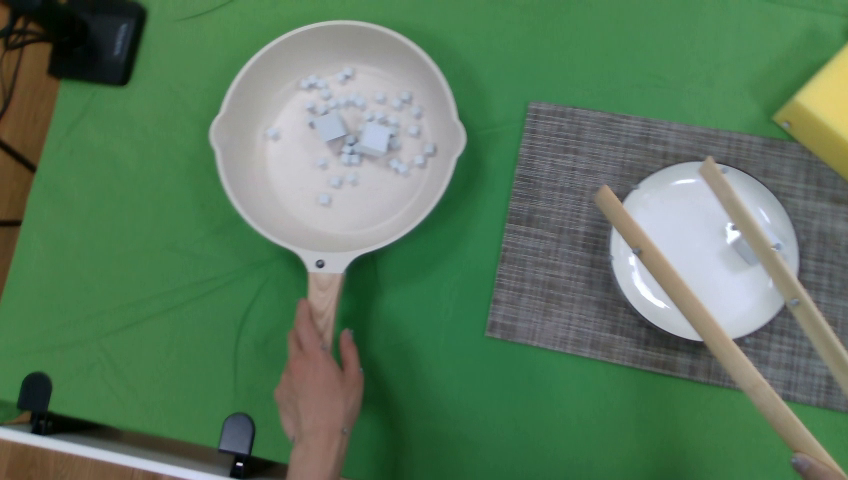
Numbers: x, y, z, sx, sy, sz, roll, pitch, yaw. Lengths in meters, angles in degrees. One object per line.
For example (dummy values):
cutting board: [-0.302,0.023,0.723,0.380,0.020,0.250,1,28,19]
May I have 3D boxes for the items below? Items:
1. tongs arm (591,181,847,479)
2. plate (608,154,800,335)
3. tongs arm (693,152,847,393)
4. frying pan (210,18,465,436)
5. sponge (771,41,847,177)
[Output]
tongs arm: [0.266,0.096,0.510,0.028,0.028,0.384,-21,65,-28]
plate: [0.315,0.006,0.698,0.207,0.039,0.207,-1,81,6]
tongs arm: [0.332,0.077,0.536,0.051,0.027,0.381,-12,62,-21]
frying pan: [-0.110,-0.023,0.713,0.306,0.103,0.485,3,73,7]
sponge: [0.529,-0.127,0.688,0.118,0.061,0.206,-45,79,-4]
